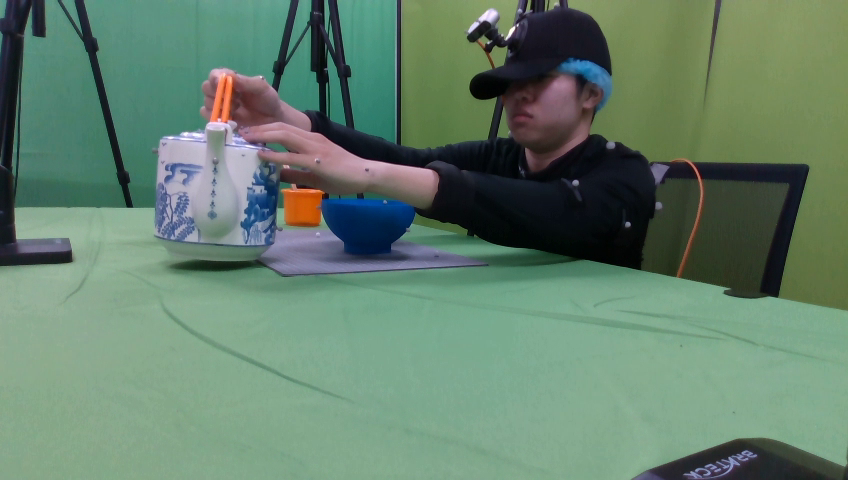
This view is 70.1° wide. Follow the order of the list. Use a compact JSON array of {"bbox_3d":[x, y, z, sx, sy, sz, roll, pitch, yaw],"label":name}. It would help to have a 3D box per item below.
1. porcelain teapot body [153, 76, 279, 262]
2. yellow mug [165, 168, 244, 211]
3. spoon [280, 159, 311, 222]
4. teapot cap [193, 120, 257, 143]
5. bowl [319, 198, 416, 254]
[{"bbox_3d":[-0.250,-0.087,0.741,0.146,0.225,0.204,5,6,-18],"label":"porcelain teapot body"},{"bbox_3d":[-0.370,-0.086,1.028,0.131,0.064,0.100,5,8,4],"label":"yellow mug"},{"bbox_3d":[-0.285,-0.111,1.320,0.042,0.193,0.021,-2,-36,-31],"label":"spoon"},{"bbox_3d":[-0.253,-0.129,0.764,0.085,0.044,0.085,7,8,-1],"label":"teapot cap"},{"bbox_3d":[-0.088,-0.022,0.941,0.151,0.077,0.151,2,7,0],"label":"bowl"}]
